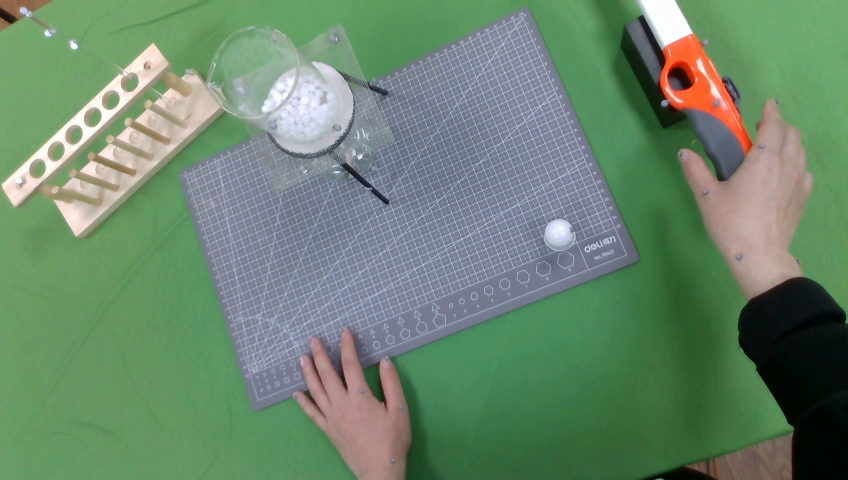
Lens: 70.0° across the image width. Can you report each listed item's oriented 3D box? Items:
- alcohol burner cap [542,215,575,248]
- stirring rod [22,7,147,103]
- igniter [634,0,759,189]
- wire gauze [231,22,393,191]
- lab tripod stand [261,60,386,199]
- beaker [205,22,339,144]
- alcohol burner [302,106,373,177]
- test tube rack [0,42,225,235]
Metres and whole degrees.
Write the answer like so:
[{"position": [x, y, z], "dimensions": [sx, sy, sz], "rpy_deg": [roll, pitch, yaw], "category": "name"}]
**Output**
[{"position": [0.135, -0.010, 0.608], "dimensions": [0.034, 0.048, 0.034], "rpy_deg": [-1, 83, 12], "category": "alcohol burner cap"}, {"position": [-0.345, -0.186, 0.632], "dimensions": [0.006, 0.177, 0.014], "rpy_deg": [-38, 72, 0], "category": "stirring rod"}, {"position": [0.237, -0.176, 0.562], "dimensions": [0.057, 0.025, 0.275], "rpy_deg": [-24, 78, 12], "category": "igniter"}, {"position": [-0.107, -0.122, 0.557], "dimensions": [0.125, 0.011, 0.121], "rpy_deg": [-23, 84, 7], "category": "wire gauze"}, {"position": [-0.092, -0.114, 0.621], "dimensions": [0.148, 0.132, 0.148], "rpy_deg": [-1, 85, 11], "category": "lab tripod stand"}, {"position": [-0.122, -0.125, 0.511], "dimensions": [0.084, 0.100, 0.074], "rpy_deg": [-9, 83, 12], "category": "beaker"}, {"position": [-0.096, -0.107, 0.631], "dimensions": [0.078, 0.119, 0.077], "rpy_deg": [-1, 83, 11], "category": "alcohol burner"}, {"position": [-0.361, -0.111, 0.708], "dimensions": [0.242, 0.085, 0.066], "rpy_deg": [-40, 77, 6], "category": "test tube rack"}]
